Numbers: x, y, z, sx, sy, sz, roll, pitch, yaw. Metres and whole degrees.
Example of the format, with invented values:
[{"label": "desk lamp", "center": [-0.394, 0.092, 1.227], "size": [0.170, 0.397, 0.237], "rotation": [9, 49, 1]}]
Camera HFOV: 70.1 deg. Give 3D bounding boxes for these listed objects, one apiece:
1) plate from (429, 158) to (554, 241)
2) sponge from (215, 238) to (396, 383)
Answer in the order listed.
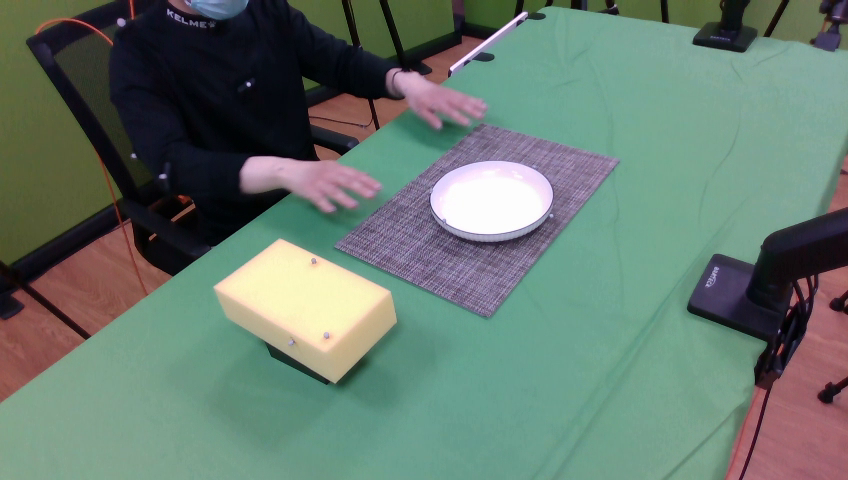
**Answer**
[{"label": "plate", "center": [0.112, -0.065, 1.011], "size": [0.207, 0.039, 0.206], "rotation": [-4, 41, 4]}, {"label": "sponge", "center": [-0.154, 0.084, 0.787], "size": [0.205, 0.061, 0.118], "rotation": [22, 49, 29]}]
